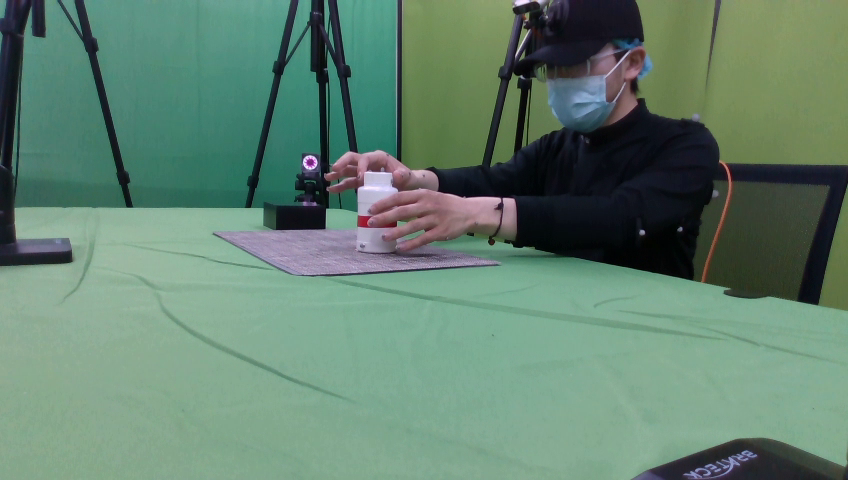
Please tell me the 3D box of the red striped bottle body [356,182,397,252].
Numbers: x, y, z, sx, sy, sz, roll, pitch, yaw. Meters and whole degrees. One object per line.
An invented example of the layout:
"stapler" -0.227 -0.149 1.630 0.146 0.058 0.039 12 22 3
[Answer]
"red striped bottle body" -0.072 -0.044 0.924 0.063 0.119 0.063 1 7 0

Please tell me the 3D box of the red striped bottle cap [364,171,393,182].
"red striped bottle cap" -0.070 -0.096 0.918 0.044 0.017 0.044 -1 5 0
